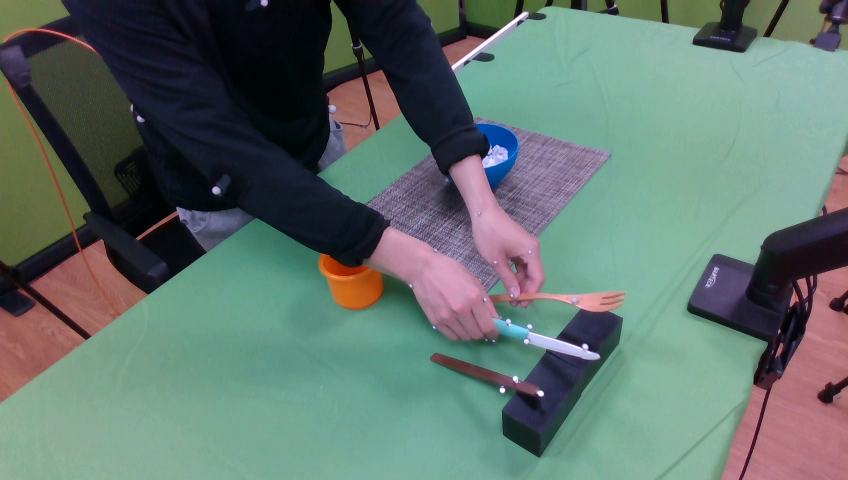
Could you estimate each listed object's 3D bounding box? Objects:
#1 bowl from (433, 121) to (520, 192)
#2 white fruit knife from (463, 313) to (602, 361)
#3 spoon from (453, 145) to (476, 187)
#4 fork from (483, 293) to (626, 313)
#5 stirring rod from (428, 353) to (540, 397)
[{"bbox_3d":[0.093,-0.137,1.064,0.151,0.077,0.150,-4,41,4],"label":"bowl"},{"bbox_3d":[0.125,0.118,0.741,0.205,0.027,0.016,10,45,44],"label":"white fruit knife"},{"bbox_3d":[0.069,-0.125,1.000,0.041,0.022,0.193,-11,21,6],"label":"spoon"},{"bbox_3d":[0.157,0.077,0.764,0.206,0.019,0.028,-2,42,41],"label":"fork"},{"bbox_3d":[0.068,0.162,0.736,0.174,0.006,0.014,8,40,46],"label":"stirring rod"}]
